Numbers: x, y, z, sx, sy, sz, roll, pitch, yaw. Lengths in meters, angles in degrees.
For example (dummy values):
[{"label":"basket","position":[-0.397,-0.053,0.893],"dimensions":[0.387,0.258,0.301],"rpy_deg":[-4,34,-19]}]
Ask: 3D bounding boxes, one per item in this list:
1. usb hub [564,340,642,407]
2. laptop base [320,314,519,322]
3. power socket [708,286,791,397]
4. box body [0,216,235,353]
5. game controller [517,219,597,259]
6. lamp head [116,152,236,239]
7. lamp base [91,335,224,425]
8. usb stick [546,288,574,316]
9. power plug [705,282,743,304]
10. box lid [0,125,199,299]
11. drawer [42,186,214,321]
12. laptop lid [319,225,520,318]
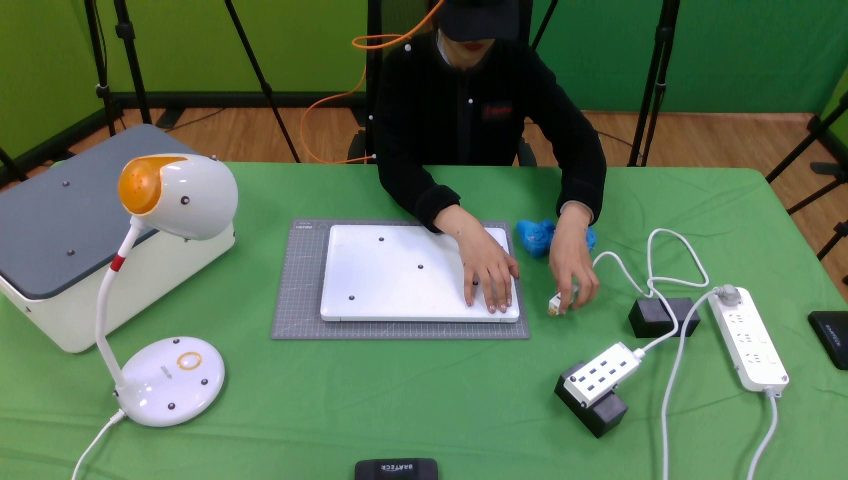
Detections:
[{"label":"usb hub","position":[0.280,0.206,0.944],"dimensions":[0.125,0.025,0.049],"rpy_deg":[-26,52,-27]},{"label":"laptop base","position":[-0.009,0.062,1.138],"dimensions":[0.354,0.023,0.234],"rpy_deg":[1,43,-3]},{"label":"power socket","position":[0.567,0.167,1.064],"dimensions":[0.072,0.033,0.225],"rpy_deg":[2,46,-1]},{"label":"box body","position":[-0.550,-0.007,1.068],"dimensions":[0.253,0.161,0.363],"rpy_deg":[30,51,23]},{"label":"game controller","position":[0.269,-0.012,1.210],"dimensions":[0.155,0.052,0.096],"rpy_deg":[1,50,-2]},{"label":"lamp head","position":[-0.315,-0.057,0.748],"dimensions":[0.112,0.112,0.123],"rpy_deg":[26,10,20]},{"label":"lamp base","position":[-0.401,0.171,0.892],"dimensions":[0.160,0.181,0.179],"rpy_deg":[30,53,23]},{"label":"usb stick","position":[0.240,0.112,1.077],"dimensions":[0.059,0.027,0.021],"rpy_deg":[-36,52,-23]},{"label":"power plug","position":[0.539,0.097,1.098],"dimensions":[0.072,0.053,0.035],"rpy_deg":[8,47,8]},{"label":"box lid","position":[-0.540,-0.068,1.016],"dimensions":[0.262,0.015,0.371],"rpy_deg":[30,51,23]},{"label":"drawer","position":[-0.529,0.018,1.097],"dimensions":[0.194,0.073,0.211],"rpy_deg":[29,53,20]},{"label":"laptop lid","position":[-0.008,0.052,1.131],"dimensions":[0.357,0.013,0.240],"rpy_deg":[2,44,-2]}]
